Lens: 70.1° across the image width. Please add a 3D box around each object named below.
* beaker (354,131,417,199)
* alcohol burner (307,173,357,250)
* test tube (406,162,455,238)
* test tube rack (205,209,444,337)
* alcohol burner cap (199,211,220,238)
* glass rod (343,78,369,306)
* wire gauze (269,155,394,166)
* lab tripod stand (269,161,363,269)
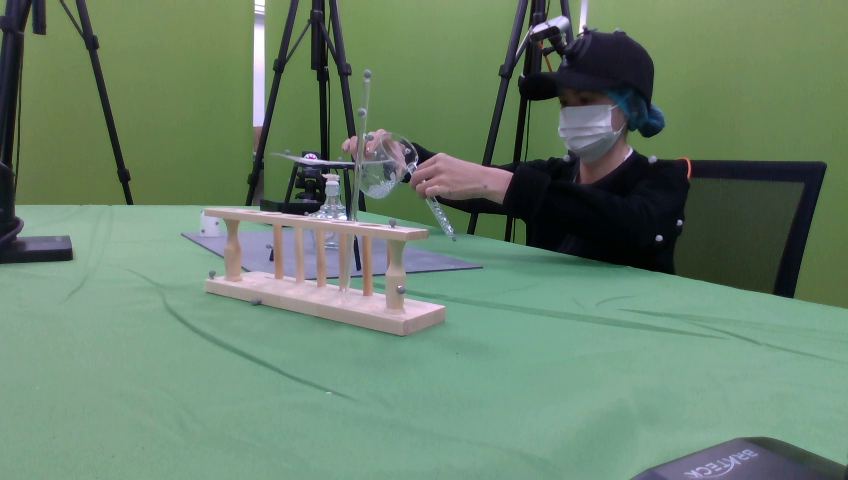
[{"bbox_3d":[-0.067,-0.122,1.032,0.074,0.083,0.100,-14,-24,-47],"label":"beaker"},{"bbox_3d":[-0.144,-0.045,0.940,0.078,0.119,0.078,1,8,0],"label":"alcohol burner"},{"bbox_3d":[0.010,-0.064,0.959,0.017,0.149,0.017,-25,-24,-11],"label":"test tube"},{"bbox_3d":[-0.100,0.021,0.565,0.241,0.085,0.067,7,9,32],"label":"test tube rack"},{"bbox_3d":[-0.356,-0.027,1.002,0.034,0.048,0.034,2,7,0],"label":"alcohol burner cap"},{"bbox_3d":[-0.059,-0.038,0.522,0.008,0.199,0.008,6,5,0],"label":"glass rod"},{"bbox_3d":[-0.121,-0.102,0.785,0.122,0.011,0.124,-3,10,-39],"label":"wire gauze"},{"bbox_3d":[-0.125,-0.036,0.794,0.148,0.131,0.148,5,7,0],"label":"lab tripod stand"}]
